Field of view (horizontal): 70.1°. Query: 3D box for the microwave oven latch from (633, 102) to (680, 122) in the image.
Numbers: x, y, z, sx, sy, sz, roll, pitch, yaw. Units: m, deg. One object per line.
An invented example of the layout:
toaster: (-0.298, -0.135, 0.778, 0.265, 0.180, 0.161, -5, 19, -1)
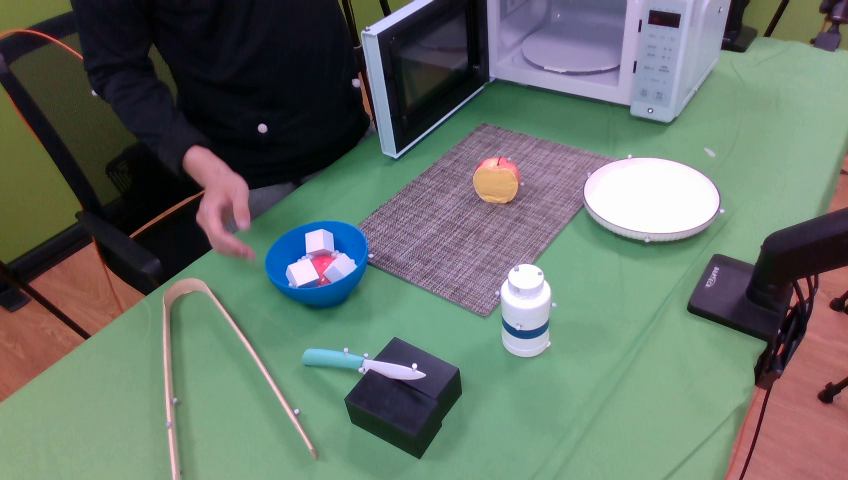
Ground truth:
microwave oven latch: (0.444, -0.249, 1.157, 0.078, 0.029, 0.030, 21, 49, 30)

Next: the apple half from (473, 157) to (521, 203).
apple half: (0.127, -0.106, 1.030, 0.080, 0.075, 0.053, 4, 36, 19)

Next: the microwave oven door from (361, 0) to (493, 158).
microwave oven door: (0.022, -0.353, 1.183, 0.039, 0.245, 0.357, 21, 48, 30)

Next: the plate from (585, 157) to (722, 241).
plate: (0.367, -0.063, 0.979, 0.207, 0.039, 0.206, -4, 40, 4)

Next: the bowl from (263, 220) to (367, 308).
bowl: (-0.153, 0.047, 0.892, 0.151, 0.077, 0.150, -3, 41, 3)

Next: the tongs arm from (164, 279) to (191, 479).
tongs arm: (-0.313, 0.182, 0.789, 0.051, 0.026, 0.381, -19, 41, -14)

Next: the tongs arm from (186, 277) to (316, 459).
tongs arm: (-0.241, 0.154, 0.816, 0.028, 0.028, 0.384, -31, 46, -21)

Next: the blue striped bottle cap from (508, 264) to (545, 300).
blue striped bottle cap: (0.125, 0.051, 0.735, 0.044, 0.021, 0.044, -5, 39, 5)

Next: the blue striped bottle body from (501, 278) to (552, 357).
blue striped bottle body: (0.130, 0.088, 0.769, 0.063, 0.121, 0.063, -4, 41, 4)

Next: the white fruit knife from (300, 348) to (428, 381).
white fruit knife: (-0.079, 0.154, 0.748, 0.206, 0.027, 0.016, 1, 20, 34)

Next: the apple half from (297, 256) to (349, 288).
apple half: (-0.154, 0.044, 0.889, 0.081, 0.033, 0.081, -3, 40, 3)

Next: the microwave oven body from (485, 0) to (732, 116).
microwave oven body: (0.377, -0.462, 1.267, 0.438, 0.261, 0.327, 21, 48, 30)
